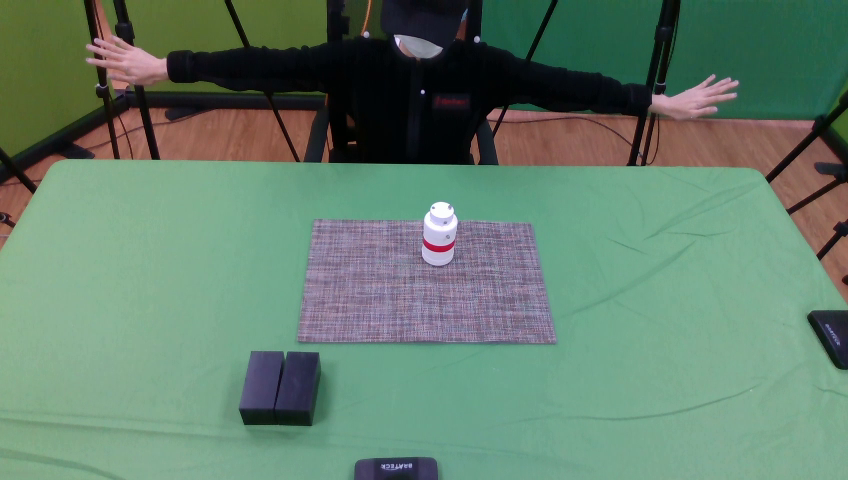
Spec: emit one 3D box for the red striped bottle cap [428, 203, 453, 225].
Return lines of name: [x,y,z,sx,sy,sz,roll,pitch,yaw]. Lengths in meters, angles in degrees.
red striped bottle cap: [0.031,-0.048,1.101,0.044,0.018,0.044,2,43,-2]

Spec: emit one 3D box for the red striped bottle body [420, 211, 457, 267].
red striped bottle body: [0.027,-0.011,1.139,0.063,0.120,0.062,3,45,-2]
